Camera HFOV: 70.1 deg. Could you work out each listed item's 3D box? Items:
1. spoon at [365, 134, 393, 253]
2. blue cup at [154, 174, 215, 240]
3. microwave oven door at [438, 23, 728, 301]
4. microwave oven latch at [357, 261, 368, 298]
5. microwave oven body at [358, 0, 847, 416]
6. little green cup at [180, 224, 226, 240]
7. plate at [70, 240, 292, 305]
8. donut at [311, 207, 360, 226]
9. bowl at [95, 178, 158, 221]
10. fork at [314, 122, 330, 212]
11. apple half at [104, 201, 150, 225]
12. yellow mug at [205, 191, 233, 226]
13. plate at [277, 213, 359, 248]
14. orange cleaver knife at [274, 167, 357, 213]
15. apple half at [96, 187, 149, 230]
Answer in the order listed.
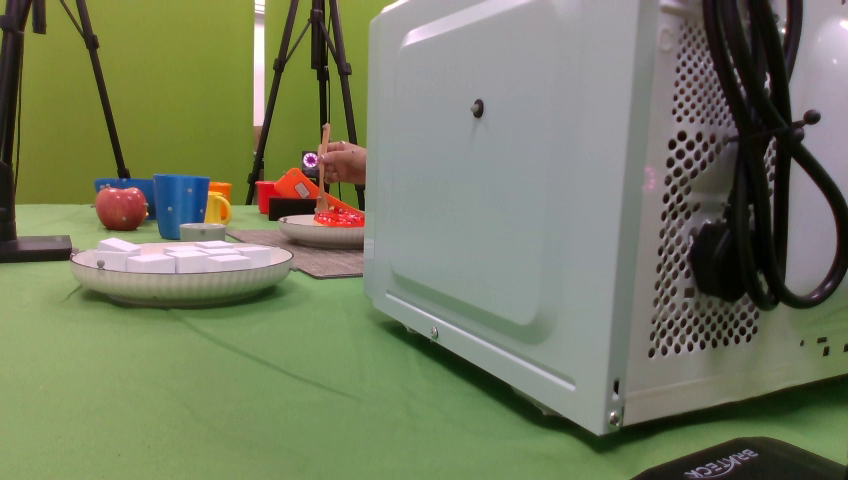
[{"bbox_3d":[-0.061,-0.070,0.875,0.022,0.193,0.041,19,-24,-37],"label":"spoon"},{"bbox_3d":[-0.391,-0.053,0.978,0.093,0.100,0.092,4,6,0],"label":"blue cup"},{"bbox_3d":[0.181,-0.072,0.621,0.358,0.243,0.039,-2,8,-29],"label":"microwave oven door"},{"bbox_3d":[-0.019,0.033,0.530,0.079,0.029,0.030,0,7,-26],"label":"microwave oven latch"},{"bbox_3d":[0.211,-0.047,0.474,0.444,0.260,0.324,-1,7,-28],"label":"microwave oven body"},{"bbox_3d":[-0.309,-0.001,0.846,0.061,0.038,0.061,2,8,0],"label":"little green cup"},{"bbox_3d":[-0.242,0.031,0.618,0.208,0.039,0.207,2,8,0],"label":"plate"},{"bbox_3d":[-0.137,-0.029,0.995,0.099,0.048,0.099,4,9,0],"label":"donut"},{"bbox_3d":[-0.576,-0.081,1.217,0.151,0.077,0.151,3,8,0],"label":"bowl"},{"bbox_3d":[-0.189,-0.120,1.123,0.028,0.207,0.019,0,-6,26],"label":"fork"},{"bbox_3d":[-0.548,-0.044,1.115,0.081,0.033,0.081,18,6,-2],"label":"apple half"},{"bbox_3d":[-0.415,-0.057,1.132,0.130,0.064,0.100,6,8,16],"label":"yellow mug"},{"bbox_3d":[-0.135,-0.017,0.992,0.209,0.038,0.209,3,8,0],"label":"plate"},{"bbox_3d":[-0.238,-0.091,1.381,0.212,0.077,0.012,31,0,-19],"label":"orange cleaver knife"},{"bbox_3d":[-0.516,-0.052,1.036,0.081,0.074,0.053,3,11,-26],"label":"apple half"}]
